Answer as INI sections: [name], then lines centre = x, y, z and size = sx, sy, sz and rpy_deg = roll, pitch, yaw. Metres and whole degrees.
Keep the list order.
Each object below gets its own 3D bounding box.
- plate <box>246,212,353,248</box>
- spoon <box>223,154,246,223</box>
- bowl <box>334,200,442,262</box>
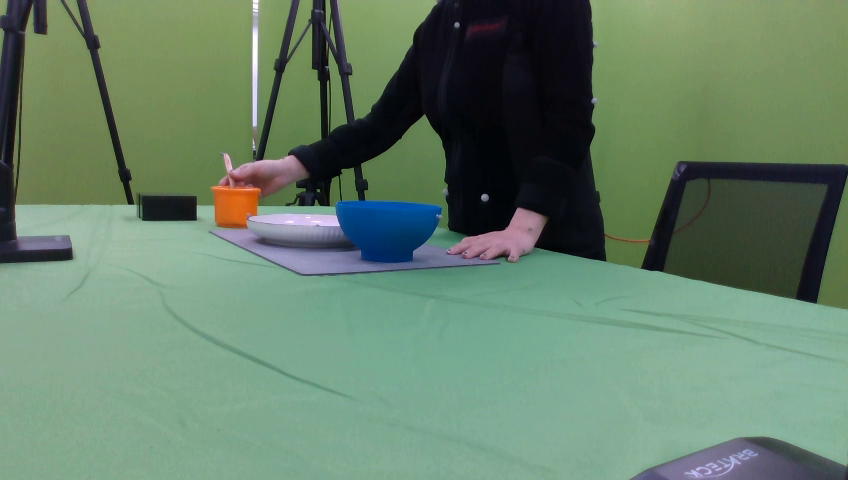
[plate]
centre = -0.185, -0.017, 0.994
size = 0.209, 0.038, 0.209
rpy_deg = 3, 8, 0
[spoon]
centre = -0.382, -0.105, 1.202
size = 0.042, 0.193, 0.021
rpy_deg = 8, -41, -34
[bowl]
centre = -0.051, -0.012, 0.847
size = 0.151, 0.077, 0.151
rpy_deg = 3, 7, 0
